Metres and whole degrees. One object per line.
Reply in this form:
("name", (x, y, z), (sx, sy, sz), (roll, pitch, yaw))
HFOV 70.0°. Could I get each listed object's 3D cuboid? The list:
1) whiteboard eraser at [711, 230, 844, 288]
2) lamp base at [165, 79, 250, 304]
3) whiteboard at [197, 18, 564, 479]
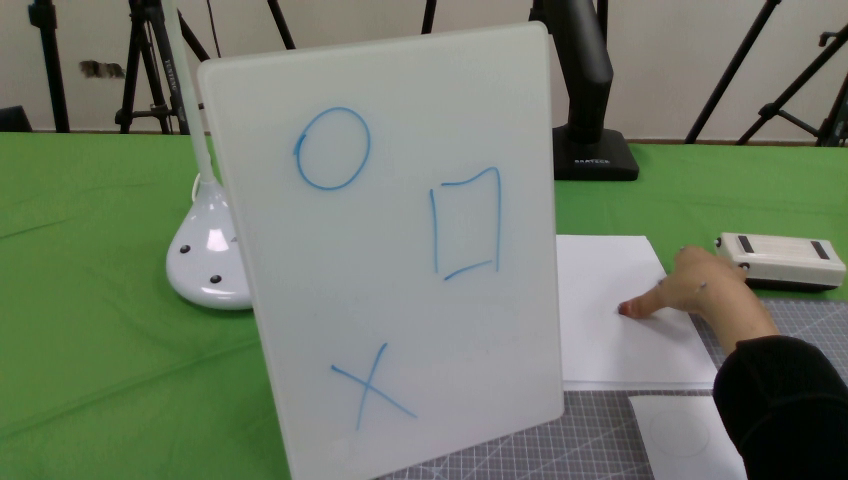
("whiteboard eraser", (0.361, 0.020, 0.625), (0.112, 0.042, 0.055), (5, 39, 6))
("lamp base", (-0.195, -0.055, 0.594), (0.177, 0.182, 0.160), (29, 46, 34))
("whiteboard", (-0.026, 0.003, 0.469), (0.218, 0.307, 0.142), (-12, 21, -15))
